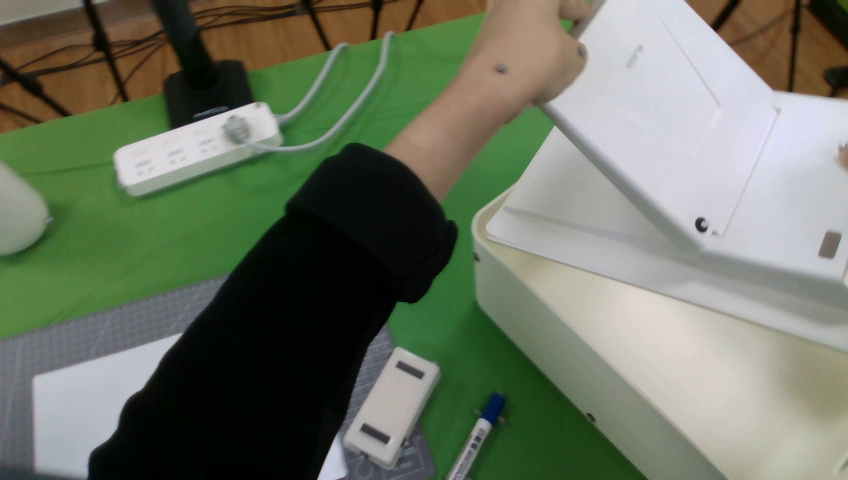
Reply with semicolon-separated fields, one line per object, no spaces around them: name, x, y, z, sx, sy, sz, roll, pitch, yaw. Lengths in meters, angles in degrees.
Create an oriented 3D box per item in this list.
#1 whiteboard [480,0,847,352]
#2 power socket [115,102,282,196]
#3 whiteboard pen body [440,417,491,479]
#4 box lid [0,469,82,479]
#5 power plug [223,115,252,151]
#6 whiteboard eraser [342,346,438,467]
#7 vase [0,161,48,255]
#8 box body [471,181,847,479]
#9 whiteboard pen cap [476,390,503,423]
whiteboard;0.203;-0.083;0.402;0.303;0.145;0.216;19;61;32
power socket;-0.299;-0.123;0.812;0.227;0.033;0.071;-21;61;-12
whiteboard pen body;0.038;0.218;0.606;0.017;0.017;0.140;28;63;18
box lid;-0.338;0.351;0.536;0.371;0.015;0.261;5;59;4
power plug;-0.241;-0.131;0.789;0.035;0.053;0.072;-12;65;-6
whiteboard eraser;-0.034;0.168;0.619;0.055;0.042;0.112;22;62;16
vase;-0.522;-0.065;0.684;0.098;0.202;0.097;-1;58;2
box body;0.248;0.070;0.604;0.254;0.162;0.361;-36;64;-19
whiteboard pen cap;0.068;0.174;0.631;0.018;0.018;0.033;26;65;17
